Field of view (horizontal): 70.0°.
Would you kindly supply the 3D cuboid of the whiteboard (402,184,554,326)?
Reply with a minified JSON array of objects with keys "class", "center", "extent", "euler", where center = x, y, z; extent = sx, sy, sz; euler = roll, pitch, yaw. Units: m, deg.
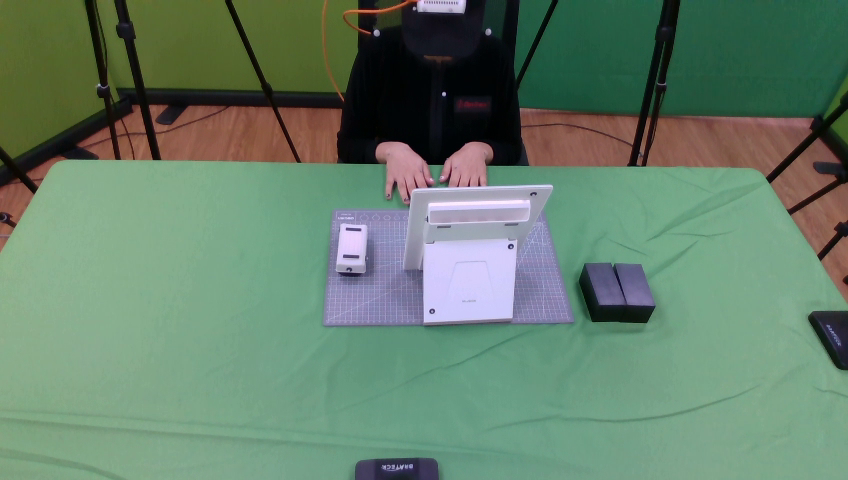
[{"class":"whiteboard","center":[0.081,0.044,1.005],"extent":[0.217,0.306,0.143],"euler":[-1,66,-6]}]

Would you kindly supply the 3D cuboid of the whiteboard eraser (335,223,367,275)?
[{"class":"whiteboard eraser","center":[-0.139,0.017,1.154],"extent":[0.055,0.042,0.112],"euler":[1,46,-3]}]
